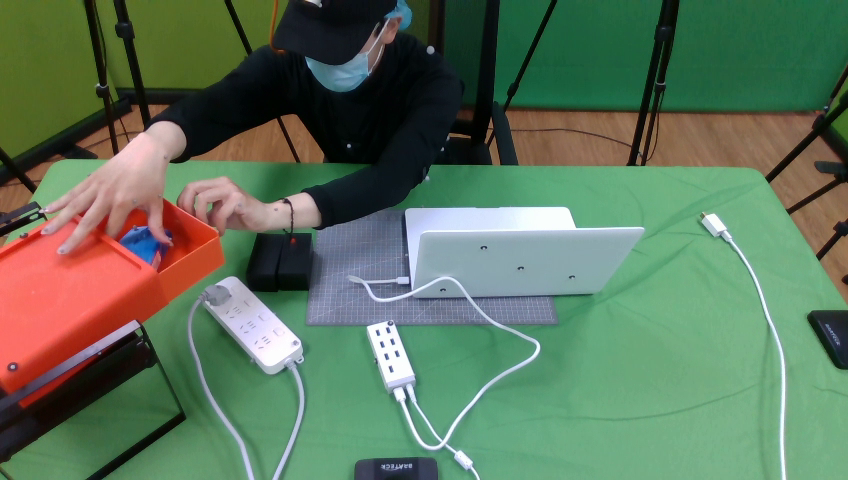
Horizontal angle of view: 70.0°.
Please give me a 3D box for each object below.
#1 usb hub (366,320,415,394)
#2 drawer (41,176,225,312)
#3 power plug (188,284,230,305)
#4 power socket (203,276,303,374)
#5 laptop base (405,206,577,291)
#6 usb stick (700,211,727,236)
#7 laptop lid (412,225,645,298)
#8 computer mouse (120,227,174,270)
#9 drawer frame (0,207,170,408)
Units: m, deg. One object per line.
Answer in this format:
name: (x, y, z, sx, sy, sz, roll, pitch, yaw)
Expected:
usb hub: (-0.056, 0.192, 1.009, 0.049, 0.025, 0.124, -12, 49, -16)
drawer: (-0.430, 0.022, 0.858, 0.193, 0.073, 0.211, 31, 51, 22)
power plug: (-0.368, 0.099, 1.037, 0.072, 0.053, 0.035, -22, 53, -25)
power socket: (-0.295, 0.141, 1.034, 0.072, 0.033, 0.225, -34, 58, -30)
laptop base: (0.143, 0.018, 1.195, 0.355, 0.023, 0.234, -1, 43, -6)
usb stick: (0.606, -0.038, 1.273, 0.027, 0.021, 0.059, -18, 56, -20)
laptop lid: (0.161, 0.042, 1.012, 0.357, 0.242, 0.013, 0, 59, -7)
computer mouse: (-0.413, 0.017, 0.882, 0.063, 0.041, 0.116, 3, 39, 0)
drawer frame: (-0.489, 0.078, 0.796, 0.201, 0.083, 0.213, 28, 50, 21)
